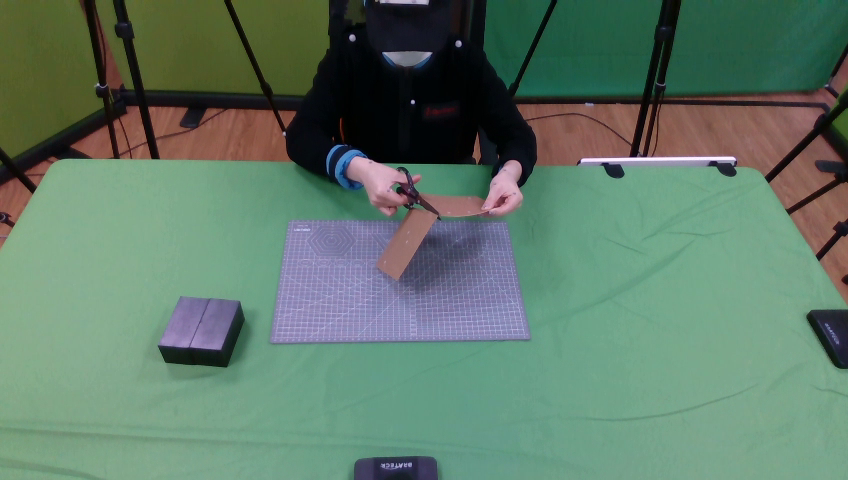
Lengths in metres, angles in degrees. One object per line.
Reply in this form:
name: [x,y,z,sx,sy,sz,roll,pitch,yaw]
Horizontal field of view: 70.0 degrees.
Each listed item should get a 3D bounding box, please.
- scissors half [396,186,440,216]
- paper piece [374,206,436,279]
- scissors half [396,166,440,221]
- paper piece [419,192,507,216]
scissors half: [-0.012,-0.066,1.108,0.013,0.040,0.174,-12,19,-23]
paper piece: [-0.039,-0.001,1.096,0.004,0.135,0.135,32,-3,-23]
scissors half: [-0.012,-0.085,1.098,0.013,0.040,0.174,-17,45,-20]
paper piece: [0.065,-0.068,1.124,0.138,0.009,0.135,-1,23,-21]
